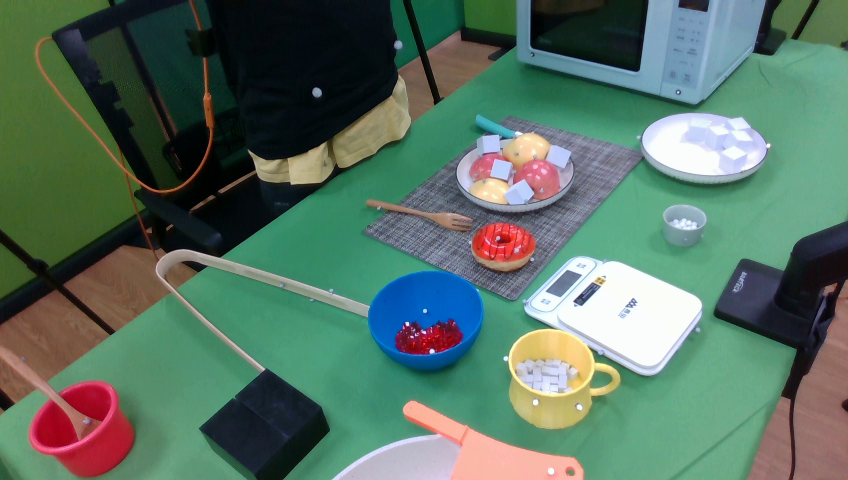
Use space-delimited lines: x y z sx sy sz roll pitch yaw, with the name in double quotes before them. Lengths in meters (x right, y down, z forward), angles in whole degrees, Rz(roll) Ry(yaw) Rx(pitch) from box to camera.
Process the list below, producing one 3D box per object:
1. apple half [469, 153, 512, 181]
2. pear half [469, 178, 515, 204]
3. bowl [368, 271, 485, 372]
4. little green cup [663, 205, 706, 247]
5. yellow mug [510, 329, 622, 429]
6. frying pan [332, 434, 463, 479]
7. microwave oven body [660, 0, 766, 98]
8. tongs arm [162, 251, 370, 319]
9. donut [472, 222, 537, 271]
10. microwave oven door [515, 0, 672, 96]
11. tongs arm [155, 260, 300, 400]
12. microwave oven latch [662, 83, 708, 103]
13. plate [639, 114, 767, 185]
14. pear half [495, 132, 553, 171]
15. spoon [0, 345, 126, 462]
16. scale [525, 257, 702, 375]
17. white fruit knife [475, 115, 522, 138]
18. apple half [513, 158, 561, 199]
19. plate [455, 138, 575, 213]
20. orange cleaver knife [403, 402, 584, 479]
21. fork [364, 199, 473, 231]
"apple half" 0.119 -0.138 1.088 0.081 0.033 0.081 -1 44 2
"pear half" 0.115 -0.090 1.036 0.087 0.031 0.071 28 38 32
"bowl" 0.007 0.119 0.791 0.151 0.077 0.150 -5 39 4
"little green cup" 0.396 -0.021 0.926 0.061 0.039 0.061 -4 40 4
"yellow mug" 0.168 0.164 0.721 0.130 0.064 0.099 0 40 8
"frying pan" -0.089 0.306 0.564 0.487 0.103 0.306 10 41 7
"microwave oven body" 0.472 -0.513 1.317 0.438 0.261 0.327 26 51 34
"tongs arm" -0.247 0.072 0.917 0.382 0.026 0.051 16 47 26
"donut" 0.123 0.009 0.923 0.099 0.048 0.098 -4 37 3
"microwave oven door" 0.343 -0.454 1.259 0.353 0.245 0.039 26 51 33
"tongs arm" -0.295 0.120 0.867 0.384 0.028 0.028 28 57 36
"microwave oven latch" 0.517 -0.296 1.204 0.078 0.029 0.030 27 52 35
"plate" 0.489 -0.157 1.074 0.207 0.039 0.206 -4 40 4
"pear half" 0.174 -0.167 1.095 0.109 0.056 0.076 15 53 30
"spoon" -0.434 0.192 0.720 0.194 0.021 0.042 47 53 -7
"scale" 0.254 0.091 0.821 0.199 0.032 0.149 28 51 35
"white fruit knife" 0.177 -0.207 1.190 0.205 0.016 0.027 31 65 35
"apple half" 0.193 -0.111 1.031 0.080 0.053 0.075 11 41 26
"plate" 0.159 -0.111 1.063 0.209 0.038 0.208 -4 40 4
"orange cleaver knife" 0.062 0.222 0.609 0.210 0.012 0.077 15 48 25
"fork" -0.014 -0.046 1.027 0.206 0.028 0.019 14 19 27
